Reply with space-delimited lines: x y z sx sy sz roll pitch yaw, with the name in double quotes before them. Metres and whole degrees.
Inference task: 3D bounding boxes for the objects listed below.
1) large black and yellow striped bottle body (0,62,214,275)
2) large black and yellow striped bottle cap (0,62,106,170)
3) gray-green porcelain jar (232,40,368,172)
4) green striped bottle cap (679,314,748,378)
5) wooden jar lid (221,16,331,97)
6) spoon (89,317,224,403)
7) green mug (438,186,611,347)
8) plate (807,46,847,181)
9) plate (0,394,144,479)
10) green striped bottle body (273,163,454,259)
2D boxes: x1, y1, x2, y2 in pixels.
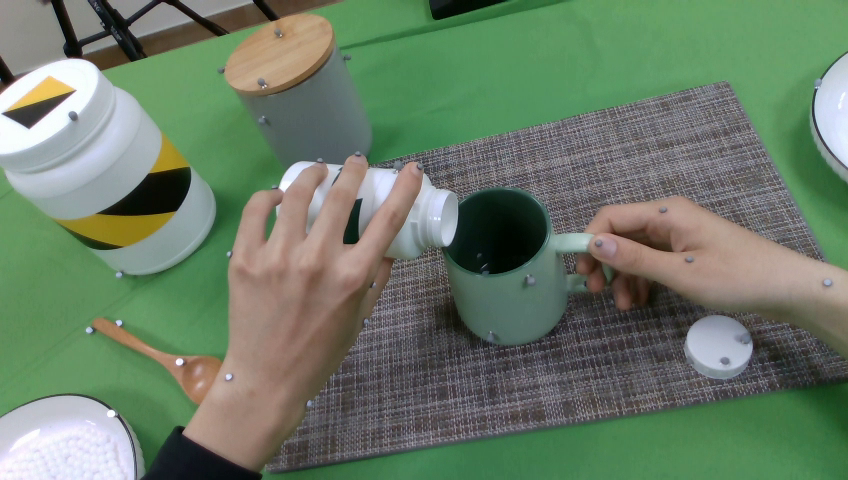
"large black and yellow striped bottle body" -0.306 -0.064 0.584 0.130 0.186 0.129 -8 55 12
"large black and yellow striped bottle cap" -0.328 -0.108 0.517 0.115 0.019 0.114 -8 53 11
"gray-green porcelain jar" -0.119 -0.128 0.607 0.106 0.128 0.105 -8 50 11
"green striped bottle cap" 0.209 0.076 0.437 0.044 0.020 0.044 -8 49 9
"wooden jar lid" -0.134 -0.167 0.560 0.108 0.021 0.107 -10 53 14
"spoon" -0.250 0.101 0.556 0.192 0.022 0.041 17 82 25
"green mug" 0.076 0.020 0.457 0.125 0.106 0.091 -5 54 14
"plate" 0.420 -0.092 0.480 0.207 0.039 0.205 -8 55 12
"plate" -0.312 0.226 0.478 0.209 0.038 0.207 -8 54 11
"green striped bottle body" -0.040 -0.021 0.429 0.119 0.064 0.063 6 58 19
